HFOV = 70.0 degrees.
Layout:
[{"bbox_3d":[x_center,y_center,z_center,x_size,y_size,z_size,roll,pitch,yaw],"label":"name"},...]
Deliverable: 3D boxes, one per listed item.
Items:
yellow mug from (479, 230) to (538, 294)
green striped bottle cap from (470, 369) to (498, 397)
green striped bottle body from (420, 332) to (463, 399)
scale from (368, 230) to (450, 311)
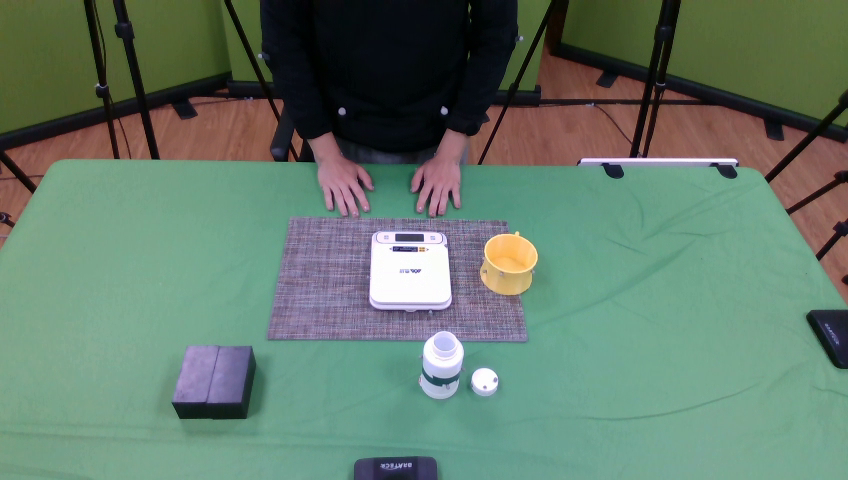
[{"bbox_3d":[0.161,0.033,1.143,0.100,0.064,0.130,15,46,9],"label":"yellow mug"},{"bbox_3d":[0.098,0.232,0.989,0.044,0.020,0.044,2,41,-1],"label":"green striped bottle cap"},{"bbox_3d":[0.027,0.193,0.947,0.063,0.120,0.063,2,47,-2],"label":"green striped bottle body"},{"bbox_3d":[-0.029,0.049,1.137,0.149,0.032,0.199,1,46,-4],"label":"scale"}]
